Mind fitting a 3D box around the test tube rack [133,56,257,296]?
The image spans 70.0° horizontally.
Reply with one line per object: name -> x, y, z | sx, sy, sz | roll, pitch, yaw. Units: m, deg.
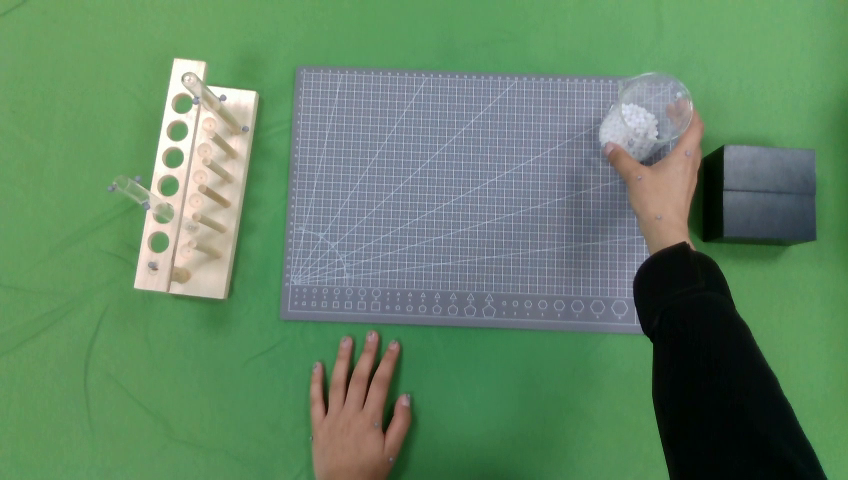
test tube rack -> -0.244, -0.065, 0.659 | 0.067, 0.085, 0.241 | 7, 84, 1

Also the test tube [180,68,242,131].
test tube -> -0.216, -0.141, 0.623 | 0.017, 0.151, 0.017 | 0, 82, 0

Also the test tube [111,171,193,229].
test tube -> -0.267, -0.036, 0.607 | 0.017, 0.151, 0.017 | 0, 76, 2

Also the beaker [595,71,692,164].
beaker -> 0.230, -0.130, 0.657 | 0.084, 0.100, 0.074 | 40, 84, 6
